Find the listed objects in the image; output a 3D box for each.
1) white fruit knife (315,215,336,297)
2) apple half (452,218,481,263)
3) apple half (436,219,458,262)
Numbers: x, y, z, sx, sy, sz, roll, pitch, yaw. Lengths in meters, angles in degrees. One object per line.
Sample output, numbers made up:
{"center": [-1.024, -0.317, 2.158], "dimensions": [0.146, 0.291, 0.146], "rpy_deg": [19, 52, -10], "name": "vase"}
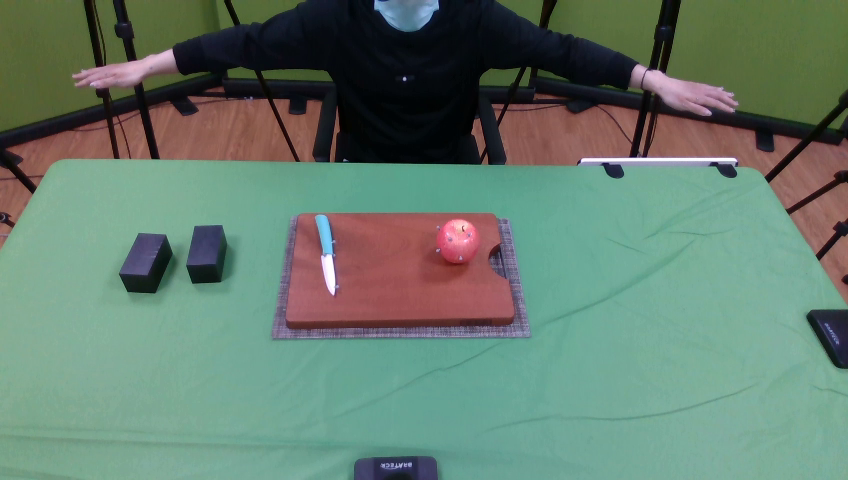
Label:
{"center": [-0.180, 0.025, 1.124], "dimensions": [0.027, 0.016, 0.206], "rpy_deg": [-27, 48, 12], "name": "white fruit knife"}
{"center": [0.077, 0.003, 1.122], "dimensions": [0.053, 0.075, 0.080], "rpy_deg": [-1, 42, -11], "name": "apple half"}
{"center": [0.039, 0.005, 1.115], "dimensions": [0.033, 0.081, 0.080], "rpy_deg": [-2, 46, -11], "name": "apple half"}
